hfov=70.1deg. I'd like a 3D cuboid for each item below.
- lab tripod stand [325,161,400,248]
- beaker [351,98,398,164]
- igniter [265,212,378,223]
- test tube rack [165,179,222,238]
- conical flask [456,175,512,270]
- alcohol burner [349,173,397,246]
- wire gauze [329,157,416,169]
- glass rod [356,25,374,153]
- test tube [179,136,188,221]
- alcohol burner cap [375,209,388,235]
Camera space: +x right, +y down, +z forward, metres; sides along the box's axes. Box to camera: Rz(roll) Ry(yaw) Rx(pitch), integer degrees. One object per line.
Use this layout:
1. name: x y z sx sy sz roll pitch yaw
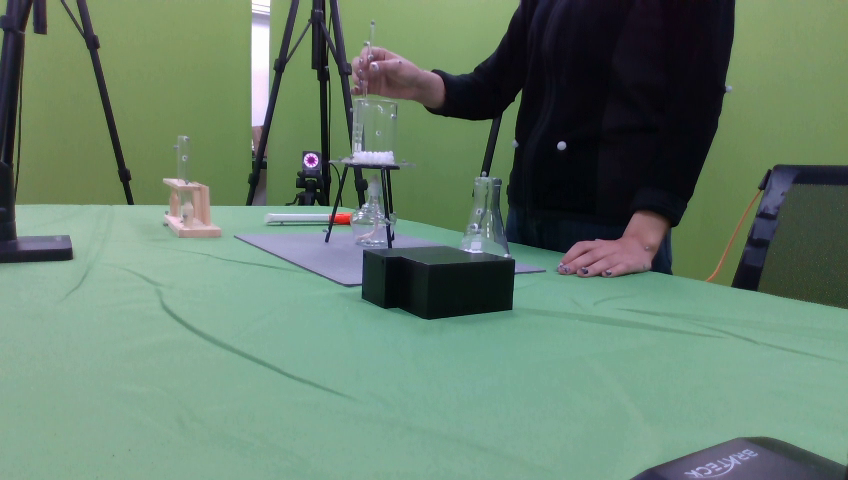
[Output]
1. lab tripod stand: -0.083 -0.059 0.977 0.148 0.131 0.148 4 8 0
2. beaker: -0.078 -0.171 0.962 0.074 0.100 0.084 6 8 18
3. igniter: -0.196 -0.048 1.285 0.278 0.025 0.057 -2 -2 -30
4. test tube rack: -0.423 -0.062 1.098 0.067 0.085 0.241 -2 9 -28
5. conical flask: 0.082 -0.025 0.801 0.075 0.122 0.075 2 7 0
6. alcohol burner: -0.081 -0.050 0.982 0.078 0.119 0.078 4 8 0
7. wire gauze: -0.079 -0.125 0.972 0.121 0.011 0.125 6 6 5
8. glass rod: -0.094 -0.236 0.950 0.008 0.199 0.008 7 5 0
9. test tube: -0.425 -0.108 1.070 0.017 0.150 0.017 4 9 0
10. alcohol burner cap: -0.076 -0.035 1.145 0.034 0.048 0.034 2 7 0
